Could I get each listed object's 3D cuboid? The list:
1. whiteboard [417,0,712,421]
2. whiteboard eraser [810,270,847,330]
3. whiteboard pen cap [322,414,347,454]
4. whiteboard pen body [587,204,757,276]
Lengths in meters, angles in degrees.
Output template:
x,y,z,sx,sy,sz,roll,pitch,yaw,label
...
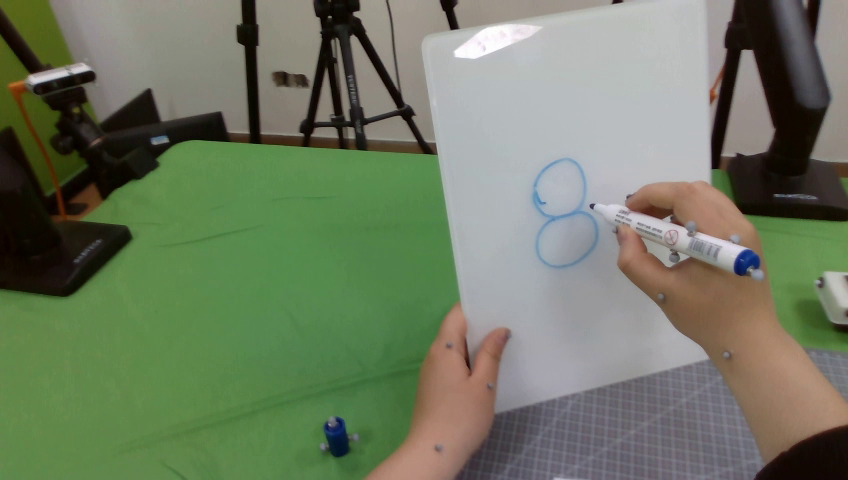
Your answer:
x,y,z,sx,sy,sz,roll,pitch,yaw,label
0.112,-0.034,0.534,0.217,0.307,0.143,-12,17,-8,whiteboard
0.417,0.058,0.544,0.112,0.042,0.055,4,39,11,whiteboard eraser
-0.070,0.154,0.480,0.018,0.033,0.018,-2,37,2,whiteboard pen cap
0.148,-0.005,0.386,0.017,0.017,0.139,-19,23,-18,whiteboard pen body
